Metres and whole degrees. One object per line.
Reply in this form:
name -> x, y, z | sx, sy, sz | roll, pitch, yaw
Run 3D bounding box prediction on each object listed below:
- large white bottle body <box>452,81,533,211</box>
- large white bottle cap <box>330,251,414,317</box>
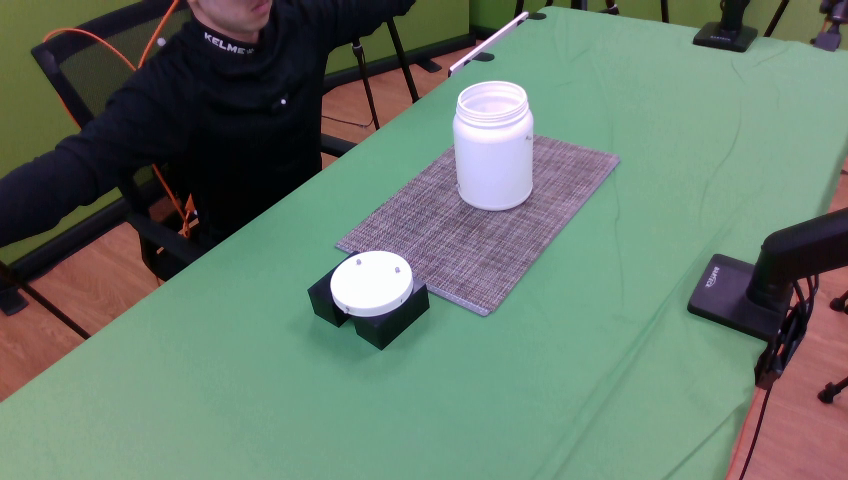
large white bottle body -> 0.115, -0.156, 1.002 | 0.130, 0.185, 0.130 | -5, 41, 4
large white bottle cap -> -0.072, 0.059, 0.836 | 0.115, 0.018, 0.114 | -4, 41, 4
